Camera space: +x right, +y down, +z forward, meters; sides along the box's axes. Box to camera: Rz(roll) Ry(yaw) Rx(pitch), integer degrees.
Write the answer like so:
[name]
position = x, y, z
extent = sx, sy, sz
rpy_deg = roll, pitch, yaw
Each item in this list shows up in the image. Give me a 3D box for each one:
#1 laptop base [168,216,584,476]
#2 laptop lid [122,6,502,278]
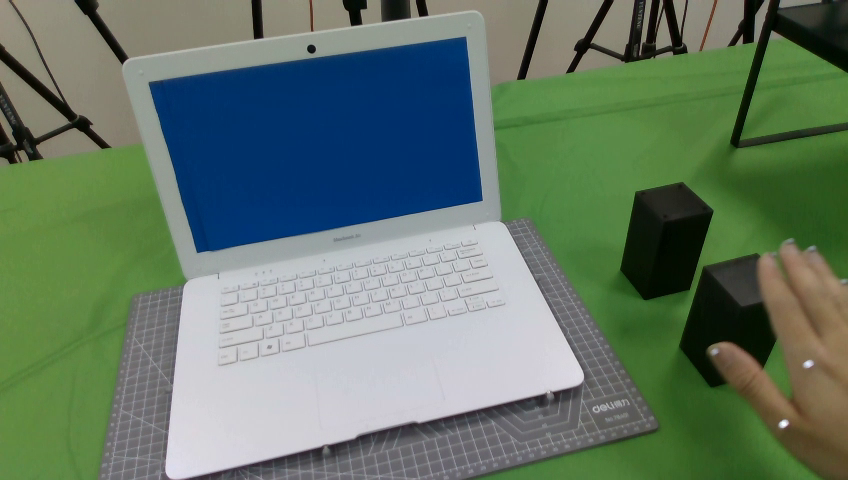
[laptop base]
position = -0.055, 0.084, 0.585
extent = 0.355, 0.023, 0.233
rpy_deg = -11, 43, -8
[laptop lid]
position = -0.097, -0.097, 0.628
extent = 0.357, 0.243, 0.013
rpy_deg = -13, 22, -8
